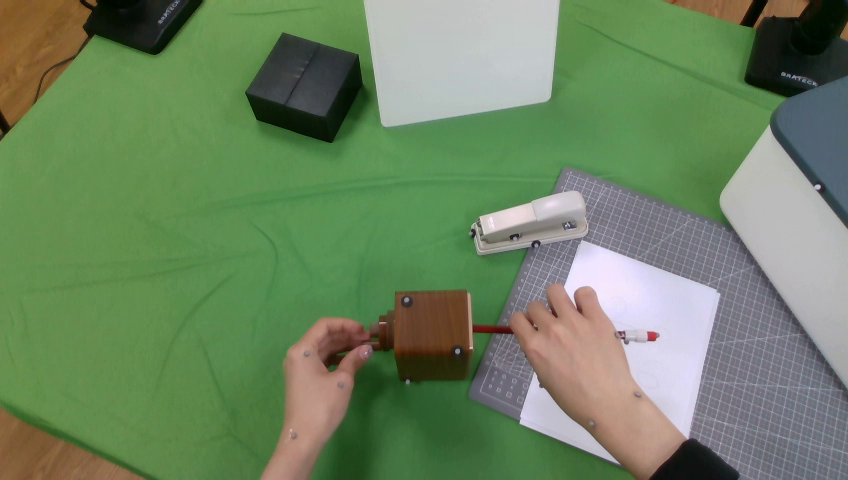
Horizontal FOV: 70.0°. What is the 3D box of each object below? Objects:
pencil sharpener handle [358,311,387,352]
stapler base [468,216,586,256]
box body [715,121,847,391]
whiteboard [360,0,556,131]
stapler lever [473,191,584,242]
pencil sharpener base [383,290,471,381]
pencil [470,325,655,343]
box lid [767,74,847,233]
[{"bbox_3d":[-0.049,0.090,0.564,0.030,0.068,0.035,-1,61,0],"label":"pencil sharpener handle"},{"bbox_3d":[0.116,-0.015,0.674,0.130,0.024,0.041,-11,60,-2],"label":"stapler base"},{"bbox_3d":[0.500,0.018,0.584,0.254,0.161,0.361,-21,66,-11],"label":"box body"},{"bbox_3d":[0.029,-0.308,0.694,0.217,0.308,0.142,-10,45,-4],"label":"whiteboard"},{"bbox_3d":[0.113,-0.026,0.652,0.118,0.040,0.026,-11,60,-2],"label":"stapler lever"},{"bbox_3d":[0.003,0.094,0.576,0.077,0.108,0.061,-1,65,0],"label":"pencil sharpener base"},{"bbox_3d":[0.112,0.084,0.551,0.194,0.012,0.012,2,64,0],"label":"pencil"},{"bbox_3d":[0.499,-0.016,0.519,0.263,0.015,0.368,-21,67,-11],"label":"box lid"}]
